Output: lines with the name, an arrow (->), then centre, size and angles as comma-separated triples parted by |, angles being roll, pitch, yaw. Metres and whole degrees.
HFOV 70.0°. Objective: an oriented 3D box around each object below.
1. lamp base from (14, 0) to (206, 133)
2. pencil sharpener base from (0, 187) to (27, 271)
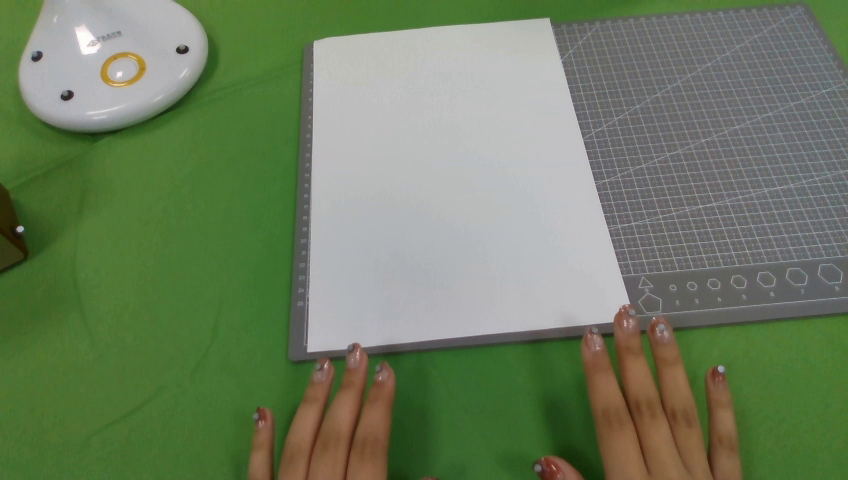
lamp base -> -0.284, -0.203, 0.468 | 0.160, 0.182, 0.177 | -39, 62, -20
pencil sharpener base -> -0.331, -0.026, 0.403 | 0.061, 0.108, 0.076 | -30, 61, -14
